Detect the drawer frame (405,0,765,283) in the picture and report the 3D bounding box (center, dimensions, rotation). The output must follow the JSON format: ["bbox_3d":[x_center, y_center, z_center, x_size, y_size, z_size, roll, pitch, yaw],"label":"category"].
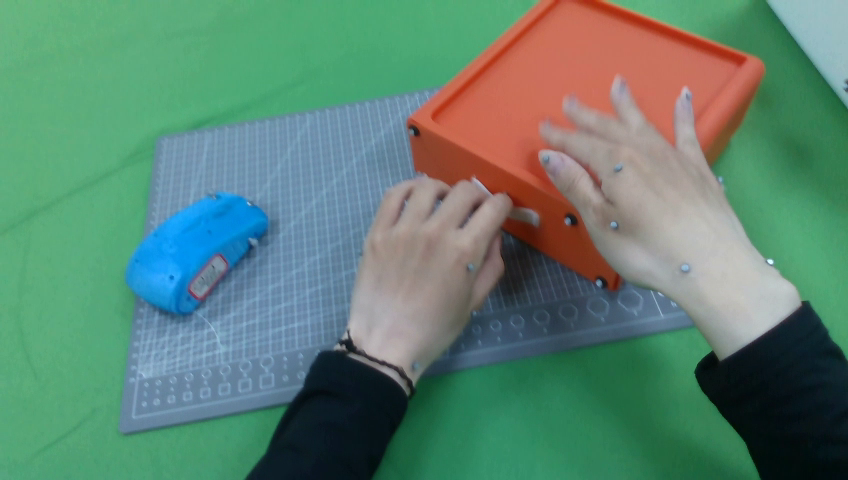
[{"bbox_3d":[0.128,-0.102,0.501,0.200,0.083,0.213,33,64,25],"label":"drawer frame"}]

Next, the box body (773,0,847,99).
[{"bbox_3d":[0.478,-0.197,0.481,0.254,0.162,0.360,-9,55,0],"label":"box body"}]

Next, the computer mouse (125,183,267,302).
[{"bbox_3d":[-0.187,-0.005,0.497,0.062,0.041,0.117,25,58,23],"label":"computer mouse"}]

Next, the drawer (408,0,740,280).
[{"bbox_3d":[0.128,-0.099,0.502,0.193,0.074,0.211,33,65,26],"label":"drawer"}]
